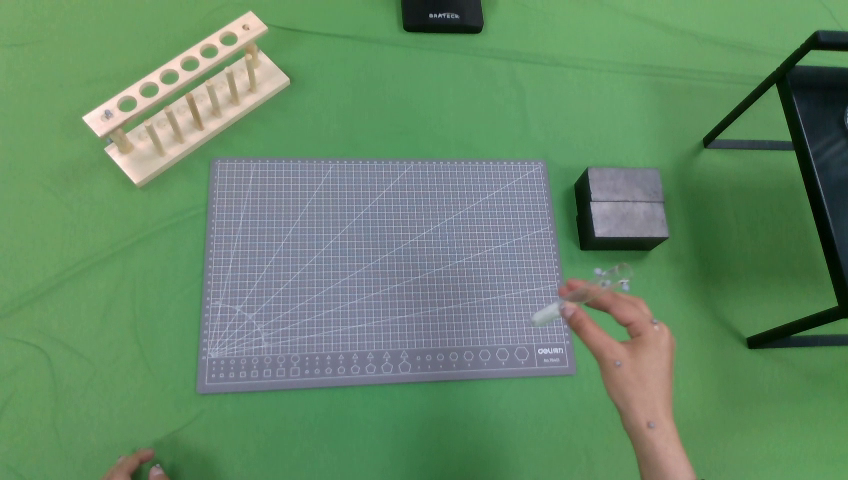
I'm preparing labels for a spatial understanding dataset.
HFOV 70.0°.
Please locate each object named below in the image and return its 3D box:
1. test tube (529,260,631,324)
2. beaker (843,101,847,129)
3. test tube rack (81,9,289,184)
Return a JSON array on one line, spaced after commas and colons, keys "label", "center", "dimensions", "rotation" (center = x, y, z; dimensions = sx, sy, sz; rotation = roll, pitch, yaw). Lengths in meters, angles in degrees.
[{"label": "test tube", "center": [0.134, 0.050, 0.544], "dimensions": [0.017, 0.150, 0.017], "rotation": [8, 65, -17]}, {"label": "beaker", "center": [0.532, -0.157, 0.676], "dimensions": [0.084, 0.101, 0.073], "rotation": [-5, 70, -9]}, {"label": "test tube rack", "center": [-0.289, -0.182, 0.763], "dimensions": [0.242, 0.085, 0.066], "rotation": [-42, 80, -19]}]
